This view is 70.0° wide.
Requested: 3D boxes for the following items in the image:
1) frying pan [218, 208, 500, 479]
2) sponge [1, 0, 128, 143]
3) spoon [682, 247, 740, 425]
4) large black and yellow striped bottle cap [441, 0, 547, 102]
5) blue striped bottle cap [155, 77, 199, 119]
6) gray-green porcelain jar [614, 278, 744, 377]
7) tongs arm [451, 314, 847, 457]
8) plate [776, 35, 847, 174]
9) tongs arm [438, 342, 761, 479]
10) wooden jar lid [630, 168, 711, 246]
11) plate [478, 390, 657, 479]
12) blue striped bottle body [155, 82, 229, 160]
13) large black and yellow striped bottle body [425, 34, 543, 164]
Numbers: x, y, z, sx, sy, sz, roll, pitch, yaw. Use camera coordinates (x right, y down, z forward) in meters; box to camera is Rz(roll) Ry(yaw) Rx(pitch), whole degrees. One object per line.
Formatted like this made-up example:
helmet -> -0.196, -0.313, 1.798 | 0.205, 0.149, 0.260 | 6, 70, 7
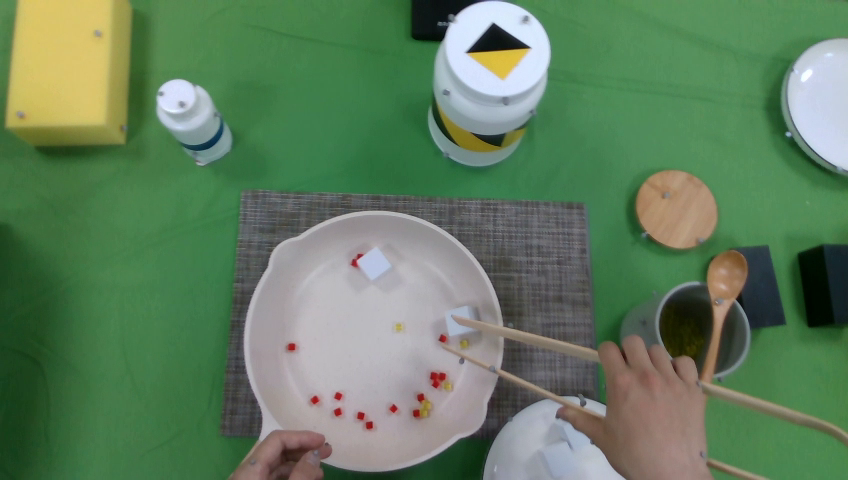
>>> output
frying pan -> -0.129, 0.180, 0.673 | 0.306, 0.103, 0.487 | 42, 69, 7
sponge -> -0.454, -0.231, 0.774 | 0.118, 0.061, 0.206 | -3, 77, -5
spoon -> 0.299, 0.100, 0.643 | 0.042, 0.021, 0.193 | 18, 79, -5
large black and yellow striped bottle cap -> 0.076, -0.206, 0.657 | 0.115, 0.019, 0.114 | 1, 78, -3
blue striped bottle cap -> -0.281, -0.162, 0.687 | 0.044, 0.021, 0.044 | 1, 78, -4
gray-green porcelain jar -> 0.290, 0.107, 0.713 | 0.106, 0.127, 0.105 | 1, 76, -3
tongs arm -> 0.185, 0.129, 0.565 | 0.384, 0.028, 0.028 | 15, 64, 36
plate -> 0.592, -0.186, 0.850 | 0.209, 0.038, 0.208 | 1, 76, -3
tongs arm -> 0.174, 0.149, 0.558 | 0.381, 0.027, 0.050 | 19, 71, 37
wooden jar lid -> 0.326, -0.043, 0.807 | 0.108, 0.021, 0.108 | 1, 78, -3
plate -> 0.164, 0.280, 0.706 | 0.208, 0.039, 0.206 | 1, 78, -4
blue striped bottle body -> -0.283, -0.148, 0.736 | 0.063, 0.121, 0.062 | 1, 76, -3
large black and yellow striped bottle body -> 0.070, -0.185, 0.738 | 0.131, 0.184, 0.130 | 1, 75, -4
